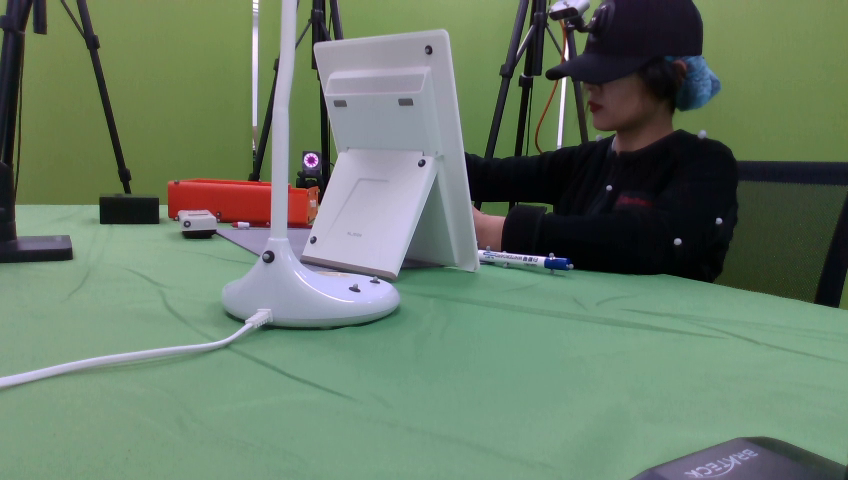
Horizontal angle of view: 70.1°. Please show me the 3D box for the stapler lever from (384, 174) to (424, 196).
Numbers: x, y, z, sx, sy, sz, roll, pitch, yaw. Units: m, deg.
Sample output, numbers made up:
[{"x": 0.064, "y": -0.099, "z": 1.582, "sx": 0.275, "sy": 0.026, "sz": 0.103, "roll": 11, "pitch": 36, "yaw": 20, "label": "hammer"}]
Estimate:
[{"x": -0.037, "y": -0.105, "z": 1.114, "sx": 0.040, "sy": 0.027, "sz": 0.117, "roll": -46, "pitch": 24, "yaw": -10, "label": "stapler lever"}]

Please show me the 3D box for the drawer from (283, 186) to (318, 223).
[{"x": -0.342, "y": -0.083, "z": 1.310, "sx": 0.212, "sy": 0.073, "sz": 0.194, "roll": 2, "pitch": 8, "yaw": -4, "label": "drawer"}]

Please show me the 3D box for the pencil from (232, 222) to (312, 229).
[{"x": -0.261, "y": -0.025, "z": 1.141, "sx": 0.195, "sy": 0.012, "sz": 0.012, "roll": 2, "pitch": 7, "yaw": -26, "label": "pencil"}]

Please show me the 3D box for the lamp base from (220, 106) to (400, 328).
[{"x": -0.101, "y": -0.023, "z": 0.531, "sx": 0.160, "sy": 0.180, "sz": 0.179, "roll": 4, "pitch": 10, "yaw": 10, "label": "lamp base"}]

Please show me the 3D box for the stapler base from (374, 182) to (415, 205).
[{"x": -0.049, "y": -0.089, "z": 1.109, "sx": 0.041, "sy": 0.024, "sz": 0.130, "roll": 49, "pitch": -16, "yaw": -24, "label": "stapler base"}]

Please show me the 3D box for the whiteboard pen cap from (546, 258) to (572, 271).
[{"x": 0.175, "y": 0.032, "z": 0.790, "sx": 0.033, "sy": 0.018, "sz": 0.018, "roll": 3, "pitch": 6, "yaw": 37, "label": "whiteboard pen cap"}]

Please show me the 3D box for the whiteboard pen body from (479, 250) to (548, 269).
[{"x": 0.130, "y": 0.028, "z": 0.827, "sx": 0.140, "sy": 0.017, "sz": 0.017, "roll": 6, "pitch": 8, "yaw": 39, "label": "whiteboard pen body"}]

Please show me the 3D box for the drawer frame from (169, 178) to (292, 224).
[{"x": -0.406, "y": -0.087, "z": 1.304, "sx": 0.214, "sy": 0.082, "sz": 0.201, "roll": 1, "pitch": 8, "yaw": -5, "label": "drawer frame"}]

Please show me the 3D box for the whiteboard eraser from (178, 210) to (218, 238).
[{"x": -0.380, "y": -0.027, "z": 1.014, "sx": 0.056, "sy": 0.042, "sz": 0.112, "roll": 0, "pitch": 8, "yaw": -25, "label": "whiteboard eraser"}]

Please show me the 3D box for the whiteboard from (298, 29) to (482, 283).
[{"x": -0.075, "y": -0.082, "z": 0.741, "sx": 0.216, "sy": 0.305, "sz": 0.144, "roll": 9, "pitch": 29, "yaw": 37, "label": "whiteboard"}]
